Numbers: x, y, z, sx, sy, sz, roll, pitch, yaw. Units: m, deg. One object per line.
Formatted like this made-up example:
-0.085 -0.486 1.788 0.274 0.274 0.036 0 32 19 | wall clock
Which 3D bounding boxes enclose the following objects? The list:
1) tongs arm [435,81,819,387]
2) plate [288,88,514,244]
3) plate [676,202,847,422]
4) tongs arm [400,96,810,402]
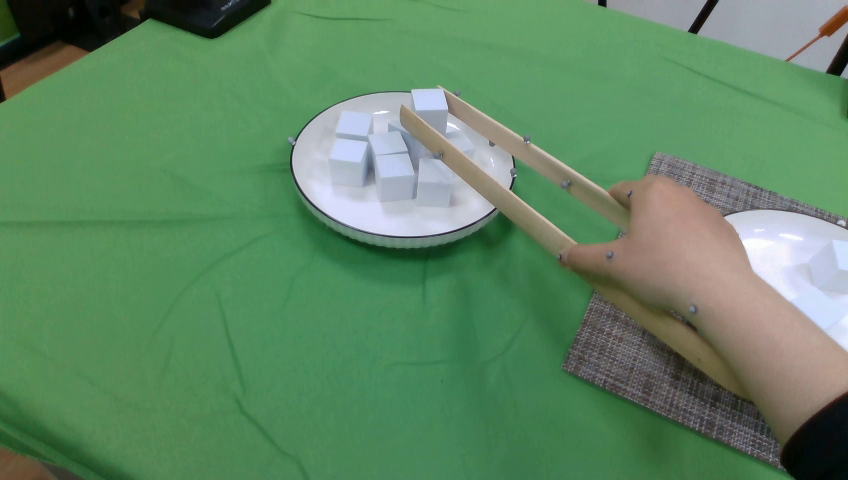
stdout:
0.121 -0.027 0.472 0.051 0.027 0.381 -32 55 -27 | tongs arm
-0.020 -0.069 0.573 0.209 0.038 0.207 3 48 -3 | plate
0.305 0.054 0.489 0.208 0.039 0.205 3 49 -3 | plate
0.099 -0.015 0.461 0.028 0.028 0.383 -27 52 -28 | tongs arm
